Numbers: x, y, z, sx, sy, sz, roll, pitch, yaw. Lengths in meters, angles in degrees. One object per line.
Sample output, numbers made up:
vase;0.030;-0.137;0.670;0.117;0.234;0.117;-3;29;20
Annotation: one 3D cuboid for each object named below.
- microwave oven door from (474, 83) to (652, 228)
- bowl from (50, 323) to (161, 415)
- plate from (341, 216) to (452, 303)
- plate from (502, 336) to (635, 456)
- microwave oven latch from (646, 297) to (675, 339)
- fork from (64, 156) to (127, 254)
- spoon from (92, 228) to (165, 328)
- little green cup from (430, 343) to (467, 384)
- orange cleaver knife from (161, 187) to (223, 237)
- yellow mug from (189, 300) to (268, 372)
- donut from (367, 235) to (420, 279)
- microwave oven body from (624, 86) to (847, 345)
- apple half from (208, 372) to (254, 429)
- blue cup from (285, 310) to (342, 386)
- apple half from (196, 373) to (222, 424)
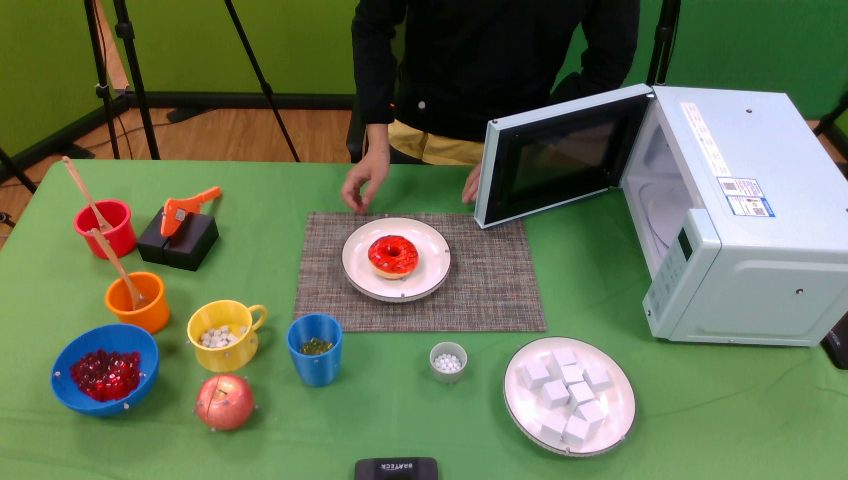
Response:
microwave oven door;0.274;-0.168;1.202;0.356;0.245;0.039;-17;50;-19
bowl;-0.472;0.209;0.924;0.151;0.077;0.150;3;45;-2
plate;-0.052;0.039;1.140;0.209;0.038;0.208;2;46;-2
plate;0.225;0.248;0.963;0.208;0.039;0.206;2;46;-2
microwave oven latch;0.412;0.134;1.061;0.030;0.029;0.078;4;45;1
fork;-0.614;-0.064;1.130;0.028;0.018;0.207;-29;97;-16
spoon;-0.496;0.063;1.014;0.041;0.194;0.021;-33;12;-31
little green cup;0.038;0.203;0.994;0.061;0.039;0.061;2;46;-2
orange cleaver knife;-0.448;-0.058;1.180;0.012;0.077;0.211;13;17;6
yellow mug;-0.315;0.149;1.001;0.131;0.064;0.099;-33;55;-31
donut;-0.057;0.032;1.132;0.099;0.048;0.098;3;45;-3
microwave oven body;0.567;-0.053;1.118;0.326;0.261;0.439;2;45;-1
apple half;-0.282;0.244;0.908;0.053;0.075;0.080;7;43;-1
blue cup;-0.170;0.179;0.958;0.093;0.101;0.092;2;44;-1
apple half;-0.322;0.239;0.906;0.033;0.081;0.081;7;46;-1
